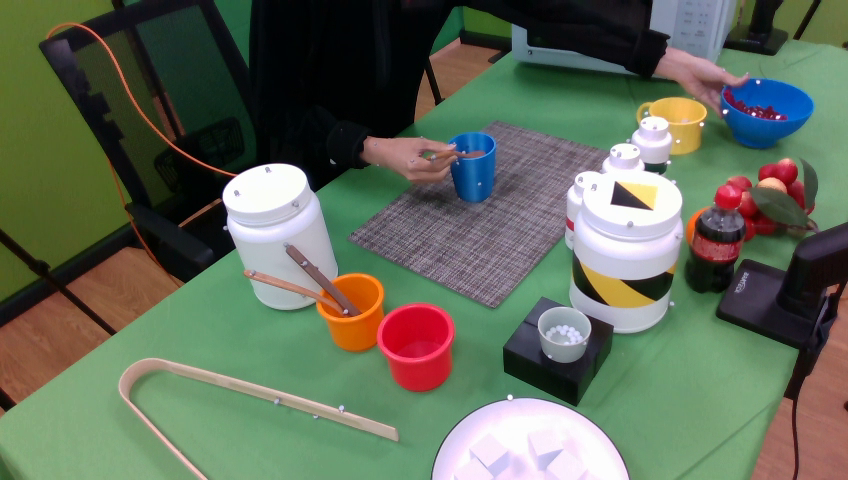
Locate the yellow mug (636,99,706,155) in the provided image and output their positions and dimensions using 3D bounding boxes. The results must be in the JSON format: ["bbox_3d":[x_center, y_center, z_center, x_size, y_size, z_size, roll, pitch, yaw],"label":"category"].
[{"bbox_3d":[0.453,-0.216,1.129,0.100,0.064,0.129,-33,45,-28],"label":"yellow mug"}]

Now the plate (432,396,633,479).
[{"bbox_3d":[0.112,0.261,0.634,0.209,0.038,0.208,-5,40,4],"label":"plate"}]

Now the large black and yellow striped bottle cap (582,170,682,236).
[{"bbox_3d":[0.252,-0.048,0.735,0.115,0.019,0.114,-3,40,3],"label":"large black and yellow striped bottle cap"}]

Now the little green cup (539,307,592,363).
[{"bbox_3d":[0.168,0.115,0.721,0.061,0.039,0.061,-4,42,4],"label":"little green cup"}]

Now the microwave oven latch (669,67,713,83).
[{"bbox_3d":[0.556,-0.349,1.261,0.078,0.029,0.030,16,46,27],"label":"microwave oven latch"}]

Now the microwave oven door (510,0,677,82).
[{"bbox_3d":[0.352,-0.476,1.289,0.353,0.245,0.039,15,44,25],"label":"microwave oven door"}]

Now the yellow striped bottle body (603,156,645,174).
[{"bbox_3d":[0.313,-0.089,0.956,0.063,0.121,0.062,-4,39,4],"label":"yellow striped bottle body"}]

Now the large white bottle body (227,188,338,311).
[{"bbox_3d":[-0.207,-0.002,0.883,0.130,0.185,0.130,-4,40,4],"label":"large white bottle body"}]

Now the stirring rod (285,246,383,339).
[{"bbox_3d":[-0.121,0.071,0.820,0.176,0.006,0.014,44,52,-7],"label":"stirring rod"}]

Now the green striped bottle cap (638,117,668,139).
[{"bbox_3d":[0.369,-0.180,0.974,0.044,0.020,0.044,-4,41,4],"label":"green striped bottle cap"}]

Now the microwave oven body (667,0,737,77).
[{"bbox_3d":[0.462,-0.552,1.368,0.439,0.261,0.326,15,45,26],"label":"microwave oven body"}]

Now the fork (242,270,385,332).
[{"bbox_3d":[-0.142,0.082,0.802,0.209,0.018,0.028,28,39,-26],"label":"fork"}]

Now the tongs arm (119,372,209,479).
[{"bbox_3d":[-0.258,0.257,0.700,0.384,0.028,0.028,24,55,34],"label":"tongs arm"}]

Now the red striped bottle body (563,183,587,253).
[{"bbox_3d":[0.246,-0.041,0.910,0.063,0.120,0.062,-2,38,2],"label":"red striped bottle body"}]

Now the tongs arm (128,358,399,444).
[{"bbox_3d":[-0.213,0.205,0.755,0.382,0.026,0.051,12,46,23],"label":"tongs arm"}]

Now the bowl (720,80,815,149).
[{"bbox_3d":[0.600,-0.216,1.078,0.151,0.077,0.150,-2,42,2],"label":"bowl"}]

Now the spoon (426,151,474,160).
[{"bbox_3d":[0.050,-0.134,0.965,0.041,0.021,0.195,6,7,29],"label":"spoon"}]

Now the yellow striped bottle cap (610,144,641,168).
[{"bbox_3d":[0.307,-0.128,0.923,0.044,0.019,0.044,-6,40,5],"label":"yellow striped bottle cap"}]

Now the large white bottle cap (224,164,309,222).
[{"bbox_3d":[-0.216,-0.066,0.829,0.115,0.018,0.114,-4,40,4],"label":"large white bottle cap"}]

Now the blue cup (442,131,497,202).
[{"bbox_3d":[0.085,-0.122,1.039,0.092,0.100,0.092,-5,42,5],"label":"blue cup"}]

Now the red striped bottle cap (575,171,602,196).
[{"bbox_3d":[0.242,-0.081,0.876,0.044,0.018,0.044,-5,43,5],"label":"red striped bottle cap"}]

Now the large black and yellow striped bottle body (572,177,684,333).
[{"bbox_3d":[0.262,0.017,0.788,0.131,0.185,0.130,-5,40,4],"label":"large black and yellow striped bottle body"}]

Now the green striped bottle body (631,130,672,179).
[{"bbox_3d":[0.375,-0.140,1.007,0.063,0.120,0.063,-5,40,5],"label":"green striped bottle body"}]
